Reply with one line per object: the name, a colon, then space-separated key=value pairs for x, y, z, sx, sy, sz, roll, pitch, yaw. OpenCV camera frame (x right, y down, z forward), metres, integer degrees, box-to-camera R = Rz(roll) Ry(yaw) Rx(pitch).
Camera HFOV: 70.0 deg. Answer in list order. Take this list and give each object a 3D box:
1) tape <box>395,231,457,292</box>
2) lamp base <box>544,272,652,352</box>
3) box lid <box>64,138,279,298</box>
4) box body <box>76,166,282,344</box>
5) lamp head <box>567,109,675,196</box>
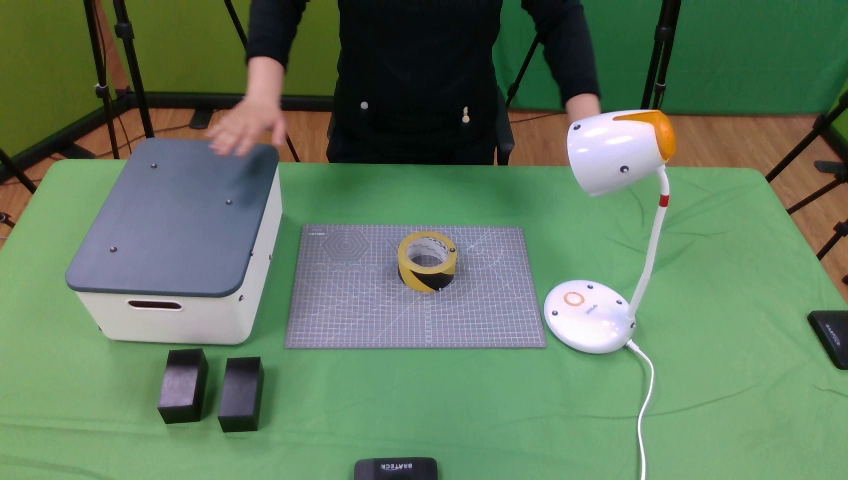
tape: x=0.005 y=0.039 z=1.136 sx=0.117 sy=0.053 sz=0.116 roll=2 pitch=46 yaw=-1
lamp base: x=0.309 y=0.086 z=1.029 sx=0.178 sy=0.181 sz=0.160 roll=32 pitch=52 yaw=21
box lid: x=-0.404 y=-0.051 z=1.016 sx=0.263 sy=0.015 sz=0.369 roll=3 pitch=46 yaw=-2
box body: x=-0.406 y=-0.002 z=1.071 sx=0.254 sy=0.161 sz=0.361 roll=2 pitch=46 yaw=-2
lamp head: x=0.272 y=-0.123 z=0.818 sx=0.122 sy=0.113 sz=0.112 roll=-9 pitch=35 yaw=37
